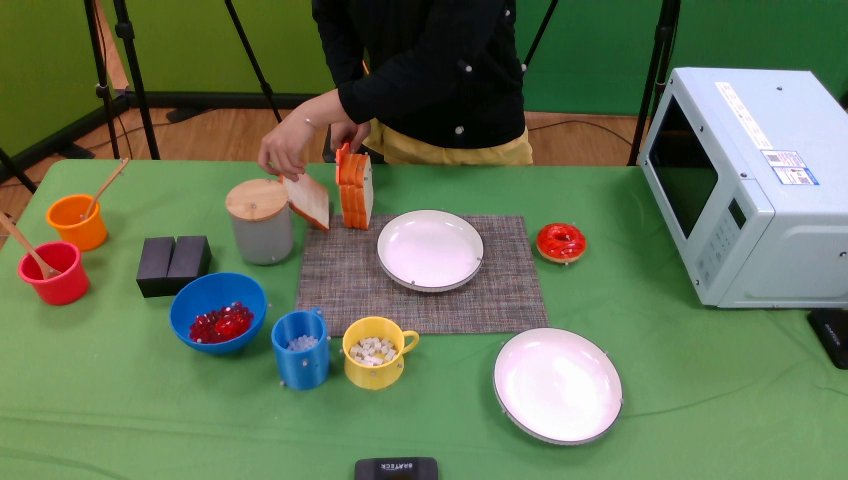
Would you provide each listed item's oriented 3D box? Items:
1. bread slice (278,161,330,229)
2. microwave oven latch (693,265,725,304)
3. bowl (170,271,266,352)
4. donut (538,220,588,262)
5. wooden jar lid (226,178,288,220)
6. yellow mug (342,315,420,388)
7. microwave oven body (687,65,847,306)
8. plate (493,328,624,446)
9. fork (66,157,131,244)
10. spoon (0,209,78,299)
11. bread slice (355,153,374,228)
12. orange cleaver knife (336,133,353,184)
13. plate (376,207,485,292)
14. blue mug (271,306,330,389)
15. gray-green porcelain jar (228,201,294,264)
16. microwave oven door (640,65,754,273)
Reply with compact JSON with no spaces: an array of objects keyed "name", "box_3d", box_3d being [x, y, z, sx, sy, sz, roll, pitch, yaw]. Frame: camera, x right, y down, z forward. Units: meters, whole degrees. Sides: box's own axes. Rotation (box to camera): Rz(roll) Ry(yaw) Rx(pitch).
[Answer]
[{"name":"bread slice","box_3d":[-0.236,-0.093,1.192,0.019,0.132,0.104,-19,55,28]},{"name":"microwave oven latch","box_3d":[0.522,0.081,1.115,0.030,0.029,0.078,2,46,-1]},{"name":"bowl","box_3d":[-0.333,0.132,1.006,0.151,0.077,0.150,2,46,-2]},{"name":"donut","box_3d":[0.273,0.001,1.198,0.099,0.048,0.098,0,46,0]},{"name":"wooden jar lid","box_3d":[-0.296,-0.070,1.080,0.108,0.021,0.107,1,45,0]},{"name":"yellow mug","box_3d":[-0.068,0.177,0.990,0.131,0.064,0.099,-15,50,-19]},{"name":"microwave oven body","box_3d":[0.669,-0.111,1.176,0.326,0.261,0.439,0,46,-3]},{"name":"plate","box_3d":[0.213,0.236,0.974,0.208,0.039,0.206,2,46,-2]},{"name":"fork","box_3d":[-0.608,-0.074,1.132,0.207,0.019,0.028,-52,48,10]},{"name":"spoon","box_3d":[-0.668,0.022,1.040,0.041,0.021,0.194,-41,105,-29]},{"name":"bread slice","box_3d":[-0.118,-0.104,1.208,0.018,0.135,0.106,3,47,4]},{"name":"orange cleaver knife","box_3d":[-0.162,-0.169,1.233,0.012,0.077,0.210,2,22,0]},{"name":"plate","box_3d":[0.012,0.021,1.158,0.209,0.038,0.208,2,47,-2]},{"name":"blue mug","box_3d":[-0.188,0.163,0.969,0.082,0.106,0.116,15,47,10]},{"name":"gray-green porcelain jar","box_3d":[-0.300,-0.027,1.126,0.106,0.127,0.105,2,46,-2]},{"name":"microwave oven door","box_3d":[0.522,-0.147,1.193,0.039,0.245,0.353,0,47,-3]}]
